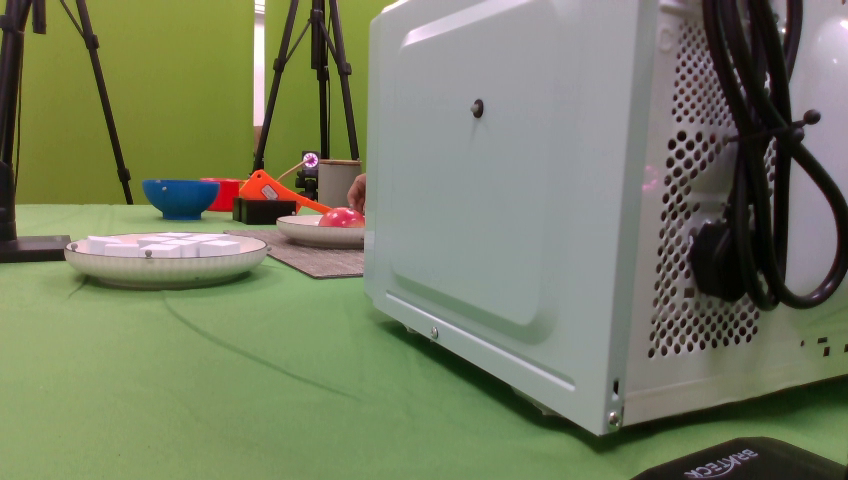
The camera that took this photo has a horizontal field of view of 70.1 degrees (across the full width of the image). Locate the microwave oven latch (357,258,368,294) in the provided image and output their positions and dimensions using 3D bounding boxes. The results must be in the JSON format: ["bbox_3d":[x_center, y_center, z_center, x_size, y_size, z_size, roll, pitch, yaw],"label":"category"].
[{"bbox_3d":[-0.019,0.031,0.529,0.079,0.029,0.030,-1,7,-27],"label":"microwave oven latch"}]

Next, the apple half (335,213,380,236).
[{"bbox_3d":[-0.112,-0.029,1.034,0.081,0.033,0.081,0,10,0],"label":"apple half"}]

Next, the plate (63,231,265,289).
[{"bbox_3d":[-0.288,0.021,0.687,0.208,0.039,0.207,2,8,0],"label":"plate"}]

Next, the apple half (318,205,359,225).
[{"bbox_3d":[-0.126,-0.029,0.954,0.081,0.053,0.074,-2,11,-33],"label":"apple half"}]

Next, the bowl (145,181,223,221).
[{"bbox_3d":[-0.499,-0.081,1.261,0.151,0.077,0.151,2,7,0],"label":"bowl"}]

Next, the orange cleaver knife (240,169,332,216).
[{"bbox_3d":[-0.286,-0.082,1.298,0.212,0.077,0.012,25,-2,-31],"label":"orange cleaver knife"}]

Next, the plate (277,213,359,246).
[{"bbox_3d":[-0.135,-0.018,0.994,0.209,0.038,0.209,2,7,0],"label":"plate"}]

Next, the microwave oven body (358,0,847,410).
[{"bbox_3d":[0.210,-0.051,0.471,0.444,0.260,0.324,-1,7,-28],"label":"microwave oven body"}]

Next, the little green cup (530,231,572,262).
[{"bbox_3d":[0.183,0.010,0.879,0.061,0.038,0.061,4,7,0],"label":"little green cup"}]

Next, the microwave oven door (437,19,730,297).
[{"bbox_3d":[0.181,-0.076,0.618,0.358,0.243,0.039,-2,9,-28],"label":"microwave oven door"}]

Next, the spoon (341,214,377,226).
[{"bbox_3d":[-0.132,-0.048,1.305,0.041,0.021,0.194,-13,4,14],"label":"spoon"}]

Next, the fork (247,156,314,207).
[{"bbox_3d":[-0.360,-0.147,1.523,0.207,0.018,0.028,-43,16,-6],"label":"fork"}]

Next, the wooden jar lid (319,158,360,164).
[{"bbox_3d":[-0.203,-0.189,1.481,0.108,0.020,0.108,2,10,0],"label":"wooden jar lid"}]

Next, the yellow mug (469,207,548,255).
[{"bbox_3d":[0.136,-0.015,0.950,0.131,0.064,0.099,3,5,-20],"label":"yellow mug"}]

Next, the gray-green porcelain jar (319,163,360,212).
[{"bbox_3d":[-0.204,-0.126,1.489,0.106,0.126,0.106,2,7,0],"label":"gray-green porcelain jar"}]
